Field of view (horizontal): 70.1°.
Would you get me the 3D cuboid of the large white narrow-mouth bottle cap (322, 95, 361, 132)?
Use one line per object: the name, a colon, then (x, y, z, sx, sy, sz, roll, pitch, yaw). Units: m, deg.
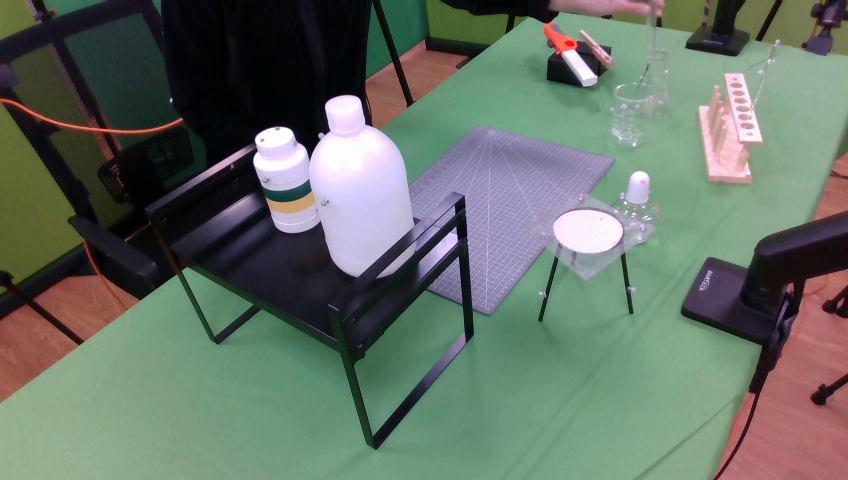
large white narrow-mouth bottle cap: (-0.080, -0.123, 0.589, 0.038, 0.024, 0.037, -5, 40, 5)

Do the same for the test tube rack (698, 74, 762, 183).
test tube rack: (0.547, -0.208, 1.095, 0.066, 0.085, 0.242, 5, 42, 15)

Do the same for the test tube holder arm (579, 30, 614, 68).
test tube holder arm: (0.384, -0.428, 1.351, 0.013, 0.015, 0.177, -9, 41, -4)

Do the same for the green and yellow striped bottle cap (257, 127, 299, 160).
green and yellow striped bottle cap: (-0.169, -0.112, 0.699, 0.045, 0.020, 0.045, -5, 41, 5)

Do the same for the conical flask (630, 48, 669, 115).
conical flask: (0.457, -0.317, 1.205, 0.075, 0.122, 0.075, -4, 41, 4)

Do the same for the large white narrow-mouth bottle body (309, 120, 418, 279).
large white narrow-mouth bottle body: (-0.068, -0.057, 0.644, 0.102, 0.195, 0.101, -6, 40, 5)

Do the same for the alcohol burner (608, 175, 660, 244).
alcohol burner: (0.322, -0.053, 0.924, 0.078, 0.119, 0.077, -4, 43, 4)

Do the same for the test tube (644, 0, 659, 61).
test tube: (0.375, -0.363, 0.993, 0.017, 0.151, 0.017, -7, 45, 8)

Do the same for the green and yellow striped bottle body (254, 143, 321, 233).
green and yellow striped bottle body: (-0.165, -0.073, 0.732, 0.063, 0.120, 0.063, -4, 41, 4)

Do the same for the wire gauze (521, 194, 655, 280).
wire gauze: (0.207, -0.012, 0.772, 0.122, 0.011, 0.124, -28, 44, -20)

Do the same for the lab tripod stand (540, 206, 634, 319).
lab tripod stand: (0.217, 0.034, 0.821, 0.148, 0.132, 0.147, -4, 42, 4)

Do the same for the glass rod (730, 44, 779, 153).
glass rod: (0.555, -0.234, 1.021, 0.008, 0.200, 0.008, 2, 40, -1)

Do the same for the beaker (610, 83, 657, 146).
beaker: (0.388, -0.235, 1.138, 0.074, 0.101, 0.083, -31, 46, -25)

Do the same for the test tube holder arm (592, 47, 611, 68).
test tube holder arm: (0.386, -0.398, 1.317, 0.010, 0.015, 0.087, -9, 41, -3)

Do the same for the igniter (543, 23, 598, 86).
igniter: (0.320, -0.419, 1.345, 0.057, 0.025, 0.274, -12, 44, -3)

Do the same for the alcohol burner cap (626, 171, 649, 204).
alcohol burner cap: (0.320, -0.081, 0.900, 0.034, 0.048, 0.033, -4, 42, 4)
